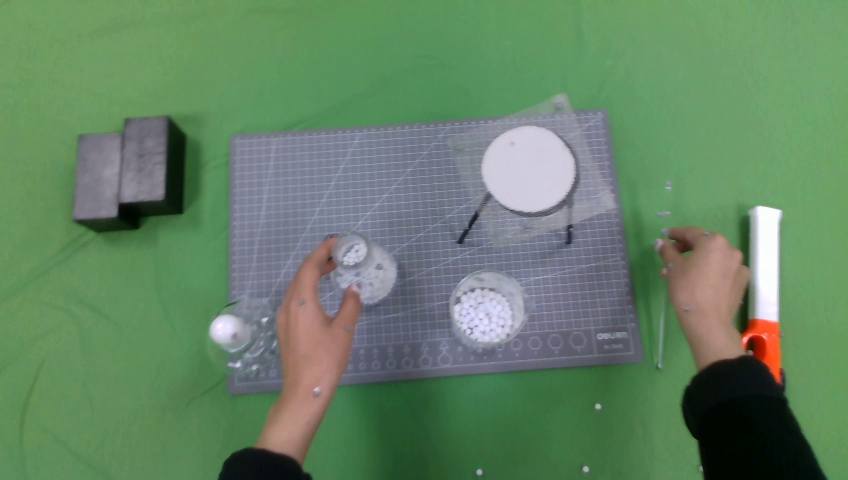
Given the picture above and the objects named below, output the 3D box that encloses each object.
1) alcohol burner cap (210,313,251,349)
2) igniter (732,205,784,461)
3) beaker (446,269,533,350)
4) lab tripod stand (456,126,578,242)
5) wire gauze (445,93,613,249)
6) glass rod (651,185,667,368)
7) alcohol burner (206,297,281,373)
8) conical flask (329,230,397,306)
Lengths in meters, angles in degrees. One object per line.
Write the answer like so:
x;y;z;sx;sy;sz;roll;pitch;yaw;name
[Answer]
-0.186;0.085;0.577;0.034;0.048;0.033;1;74;-4;alcohol burner cap
0.361;0.096;0.654;0.057;0.025;0.275;10;77;-8;igniter
0.063;0.075;0.622;0.084;0.100;0.073;-6;76;-1;beaker
0.099;-0.048;0.633;0.148;0.132;0.147;0;78;1;lab tripod stand
0.097;-0.065;0.568;0.125;0.011;0.121;-20;79;-3;wire gauze
0.255;0.039;0.658;0.008;0.008;0.199;4;88;1;glass rod
-0.187;0.094;0.612;0.078;0.119;0.077;0;77;-1;alcohol burner
-0.069;0.024;0.623;0.075;0.122;0.075;0;76;1;conical flask
